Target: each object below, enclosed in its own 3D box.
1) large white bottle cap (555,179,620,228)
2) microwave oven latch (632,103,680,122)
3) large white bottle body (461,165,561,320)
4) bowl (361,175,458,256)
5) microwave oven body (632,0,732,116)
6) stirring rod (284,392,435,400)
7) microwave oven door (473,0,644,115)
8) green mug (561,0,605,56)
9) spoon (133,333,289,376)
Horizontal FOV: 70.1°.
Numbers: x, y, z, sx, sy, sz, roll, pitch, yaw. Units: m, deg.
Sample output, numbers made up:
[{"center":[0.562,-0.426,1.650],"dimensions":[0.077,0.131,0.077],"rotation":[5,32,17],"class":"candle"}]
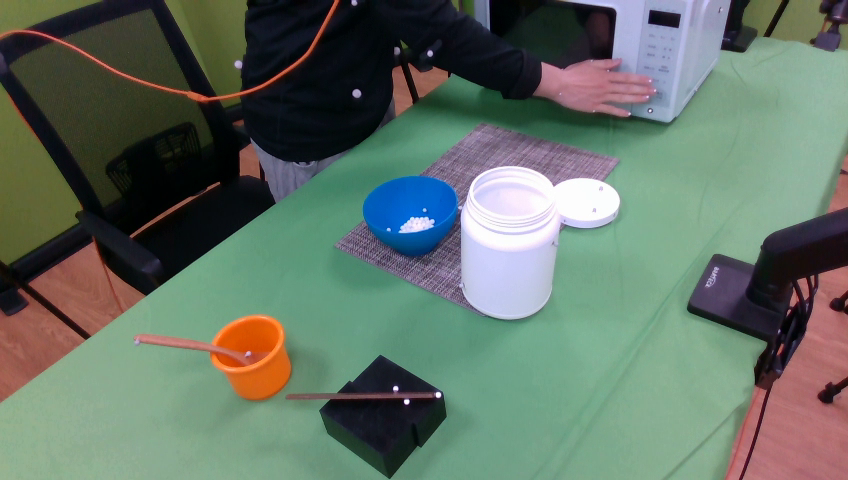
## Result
[{"center":[0.265,-0.062,1.001],"dimensions":[0.115,0.018,0.114],"rotation":[-4,41,4],"class":"large white bottle cap"},{"center":[0.443,-0.249,1.158],"dimensions":[0.078,0.029,0.030],"rotation":[20,48,29],"class":"microwave oven latch"},{"center":[0.115,0.004,0.816],"dimensions":[0.130,0.185,0.130],"rotation":[-2,43,2],"class":"large white bottle body"},{"center":[-0.019,-0.029,0.955],"dimensions":[0.151,0.077,0.150],"rotation":[-4,40,4],"class":"bowl"},{"center":[0.377,-0.463,1.267],"dimensions":[0.438,0.261,0.327],"rotation":[21,49,30],"class":"microwave oven body"},{"center":[-0.075,0.180,0.698],"dimensions":[0.176,0.006,0.014],"rotation":[-2,6,6],"class":"stirring rod"},{"center":[0.257,-0.396,1.199],"dimensions":[0.353,0.245,0.039],"rotation":[21,48,29],"class":"microwave oven door"},{"center":[0.336,-0.450,1.292],"dimensions":[0.092,0.105,0.125],"rotation":[7,49,22],"class":"green mug"},{"center":[-0.257,0.137,0.747],"dimensions":[0.021,0.195,0.041],"rotation":[-47,40,23],"class":"spoon"}]
